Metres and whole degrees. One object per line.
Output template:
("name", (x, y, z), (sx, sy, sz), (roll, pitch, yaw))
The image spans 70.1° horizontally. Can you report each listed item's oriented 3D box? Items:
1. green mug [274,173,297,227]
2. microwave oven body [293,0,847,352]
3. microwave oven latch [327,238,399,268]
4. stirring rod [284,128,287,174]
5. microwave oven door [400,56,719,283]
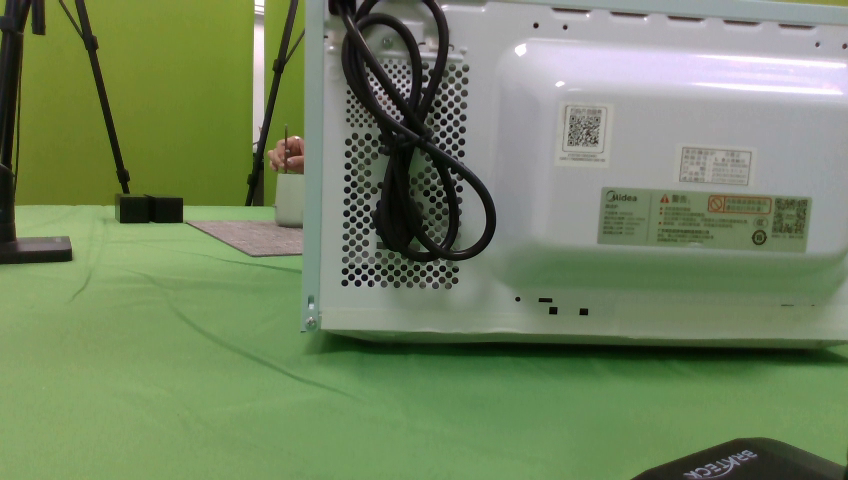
("green mug", (-0.242, -0.081, 1.221), (0.092, 0.105, 0.126), (8, 9, 40))
("microwave oven body", (0.122, -0.055, 0.550), (0.442, 0.260, 0.325), (3, 7, -5))
("microwave oven latch", (-0.069, 0.015, 0.694), (0.079, 0.029, 0.030), (3, 7, -3))
("stirring rod", (-0.277, -0.136, 1.207), (0.006, 0.176, 0.014), (1, 3, -9))
("microwave oven door", (0.155, -0.078, 0.697), (0.356, 0.243, 0.039), (2, 8, -5))
